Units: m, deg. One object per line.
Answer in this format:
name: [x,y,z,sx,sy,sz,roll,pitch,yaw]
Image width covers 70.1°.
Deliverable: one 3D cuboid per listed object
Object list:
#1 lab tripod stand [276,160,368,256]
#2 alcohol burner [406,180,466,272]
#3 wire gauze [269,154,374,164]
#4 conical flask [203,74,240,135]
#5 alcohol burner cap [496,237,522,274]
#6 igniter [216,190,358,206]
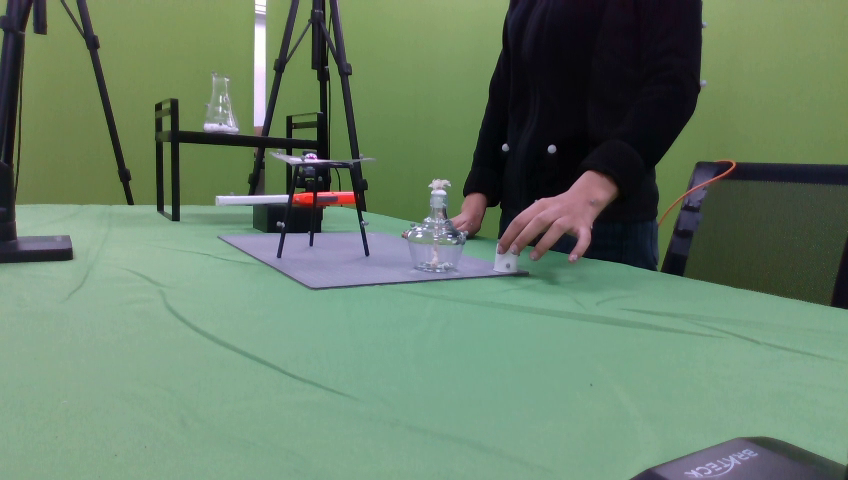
lab tripod stand: [-0.150,-0.046,0.861,0.148,0.131,0.148,3,9,0]
alcohol burner: [0.017,-0.018,0.777,0.078,0.119,0.078,5,8,0]
wire gauze: [-0.146,-0.114,0.860,0.122,0.011,0.124,-2,9,-28]
conical flask: [-0.425,-0.284,1.271,0.075,0.122,0.075,3,7,0]
alcohol burner cap: [0.111,0.020,0.786,0.034,0.048,0.034,-1,9,1]
igniter: [-0.248,-0.079,1.142,0.278,0.025,0.057,-5,8,-31]
